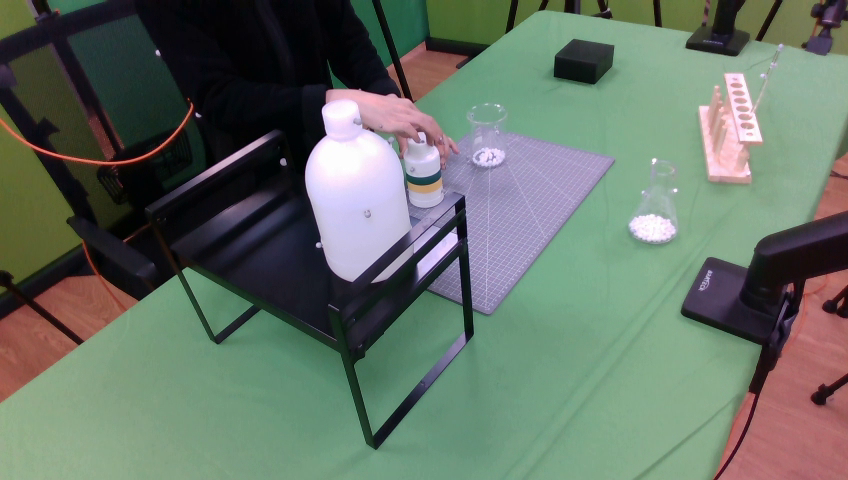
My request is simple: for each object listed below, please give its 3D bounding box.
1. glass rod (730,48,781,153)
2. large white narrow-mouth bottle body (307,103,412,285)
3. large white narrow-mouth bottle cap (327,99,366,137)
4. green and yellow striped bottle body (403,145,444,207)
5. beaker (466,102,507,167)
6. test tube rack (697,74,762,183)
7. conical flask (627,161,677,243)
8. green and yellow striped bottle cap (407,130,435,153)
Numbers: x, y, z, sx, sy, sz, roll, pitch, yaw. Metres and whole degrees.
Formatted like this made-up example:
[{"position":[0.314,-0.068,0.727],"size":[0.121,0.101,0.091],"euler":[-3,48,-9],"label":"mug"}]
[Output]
[{"position":[0.554,-0.228,1.015],"size":[0.008,0.200,0.008],"euler":[1,44,-1],"label":"glass rod"},{"position":[-0.070,-0.051,0.638],"size":[0.102,0.195,0.101],"euler":[-3,40,3],"label":"large white narrow-mouth bottle body"},{"position":[-0.075,-0.118,0.582],"size":[0.038,0.024,0.037],"euler":[-3,40,3],"label":"large white narrow-mouth bottle cap"},{"position":[-0.001,-0.121,1.038],"size":[0.063,0.120,0.063],"euler":[-4,40,4],"label":"green and yellow striped bottle body"},{"position":[0.121,-0.195,1.124],"size":[0.084,0.100,0.073],"euler":[-34,48,-28],"label":"beaker"},{"position":[0.547,-0.208,1.095],"size":[0.066,0.085,0.242],"euler":[5,42,15],"label":"test tube rack"},{"position":[0.355,-0.061,0.921],"size":[0.075,0.122,0.075],"euler":[-4,41,4],"label":"conical flask"},{"position":[-0.006,-0.164,1.004],"size":[0.045,0.020,0.045],"euler":[-5,41,5],"label":"green and yellow striped bottle cap"}]
